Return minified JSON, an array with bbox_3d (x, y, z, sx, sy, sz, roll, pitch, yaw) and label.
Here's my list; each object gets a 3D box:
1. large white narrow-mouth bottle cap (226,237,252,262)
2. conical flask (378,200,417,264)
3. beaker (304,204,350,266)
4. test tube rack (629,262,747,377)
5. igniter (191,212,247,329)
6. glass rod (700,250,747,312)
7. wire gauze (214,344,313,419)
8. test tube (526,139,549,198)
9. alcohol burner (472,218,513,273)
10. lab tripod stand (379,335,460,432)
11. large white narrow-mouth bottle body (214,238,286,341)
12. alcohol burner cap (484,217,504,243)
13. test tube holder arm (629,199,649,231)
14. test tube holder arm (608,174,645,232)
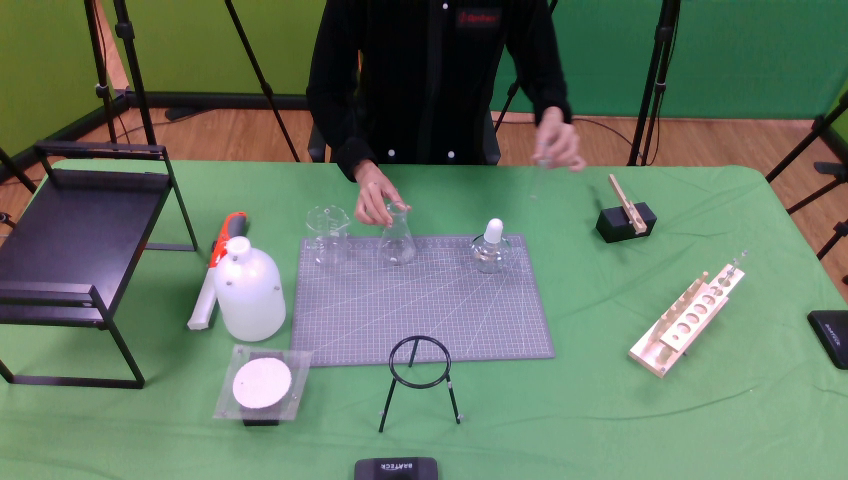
[{"bbox_3d":[-0.282,0.014,0.923,0.038,0.024,0.037,2,46,-2],"label":"large white narrow-mouth bottle cap"},{"bbox_3d":[-0.049,-0.018,1.136,0.075,0.122,0.075,2,46,-2],"label":"conical flask"},{"bbox_3d":[-0.178,-0.006,1.132,0.084,0.101,0.073,4,46,-1],"label":"beaker"},{"bbox_3d":[0.464,0.126,1.060,0.242,0.085,0.066,-34,56,-31],"label":"test tube rack"},{"bbox_3d":[-0.376,0.047,1.121,0.057,0.025,0.275,-4,46,6],"label":"igniter"},{"bbox_3d":[0.500,0.075,1.021,0.008,0.201,0.008,0,54,1],"label":"glass rod"},{"bbox_3d":[-0.241,0.213,0.915,0.121,0.011,0.124,5,46,1],"label":"wire gauze"},{"bbox_3d":[0.202,-0.125,1.086,0.017,0.151,0.017,1,56,-1],"label":"test tube"},{"bbox_3d":[0.128,0.005,1.132,0.078,0.120,0.077,0,47,0],"label":"alcohol burner"},{"bbox_3d":[-0.010,0.214,0.911,0.148,0.132,0.147,1,45,0],"label":"lab tripod stand"},{"bbox_3d":[-0.285,0.073,0.986,0.102,0.195,0.101,2,46,-2],"label":"large white narrow-mouth bottle body"},{"bbox_3d":[0.130,-0.021,1.107,0.034,0.048,0.033,5,46,-5],"label":"alcohol burner cap"},{"bbox_3d":[0.424,-0.050,1.206,0.010,0.015,0.087,0,42,-11],"label":"test tube holder arm"},{"bbox_3d":[0.412,-0.080,1.237,0.013,0.015,0.177,0,42,-11],"label":"test tube holder arm"}]
